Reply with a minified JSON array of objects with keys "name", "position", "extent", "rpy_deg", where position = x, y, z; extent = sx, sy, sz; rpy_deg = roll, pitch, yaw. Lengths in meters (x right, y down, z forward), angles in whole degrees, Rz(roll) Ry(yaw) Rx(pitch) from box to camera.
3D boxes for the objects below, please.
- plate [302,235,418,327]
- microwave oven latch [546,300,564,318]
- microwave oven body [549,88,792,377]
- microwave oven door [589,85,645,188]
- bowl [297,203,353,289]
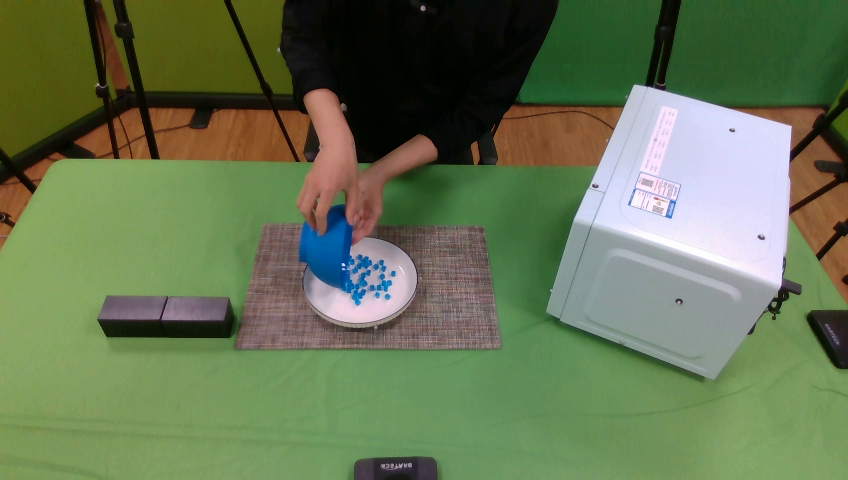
[{"name":"plate","position":[-0.114,0.077,1.098],"extent":[0.208,0.039,0.206],"rpy_deg":[2,46,-2]},{"name":"microwave oven latch","position":[0.242,0.102,1.081],"extent":[0.030,0.029,0.079],"rpy_deg":[21,48,17]},{"name":"microwave oven body","position":[0.456,-0.028,1.088],"extent":[0.325,0.261,0.440],"rpy_deg":[20,47,16]},{"name":"microwave oven door","position":[0.342,-0.107,1.149],"extent":[0.039,0.245,0.354],"rpy_deg":[20,48,15]},{"name":"bowl","position":[-0.173,0.006,1.046],"extent":[0.077,0.152,0.150],"rpy_deg":[7,46,-2]}]
